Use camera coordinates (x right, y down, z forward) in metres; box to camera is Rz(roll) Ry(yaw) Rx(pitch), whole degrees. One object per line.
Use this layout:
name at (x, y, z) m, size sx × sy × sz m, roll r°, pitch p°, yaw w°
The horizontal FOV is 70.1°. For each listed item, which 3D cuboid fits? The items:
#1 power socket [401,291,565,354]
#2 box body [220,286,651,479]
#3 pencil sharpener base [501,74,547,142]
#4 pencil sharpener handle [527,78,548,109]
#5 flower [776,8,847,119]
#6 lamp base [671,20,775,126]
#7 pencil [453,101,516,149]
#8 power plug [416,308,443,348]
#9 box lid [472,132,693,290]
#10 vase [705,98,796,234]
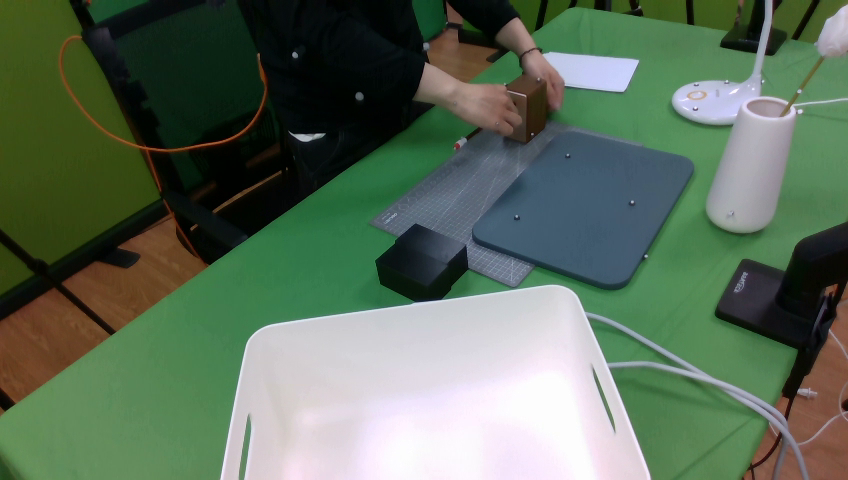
power socket at (0.080, 0.111, 0.823) m, size 0.227 × 0.033 × 0.072 m, roll -5°, pitch 41°, yaw 1°
box body at (0.006, 0.210, 0.618) m, size 0.364 × 0.161 × 0.252 m, roll -8°, pitch 40°, yaw -1°
pencil sharpener base at (0.196, -0.257, 1.175) m, size 0.061 × 0.107 × 0.077 m, roll 25°, pitch 50°, yaw 33°
pencil sharpener handle at (0.229, -0.294, 1.193) m, size 0.035 × 0.068 × 0.031 m, roll 16°, pitch 45°, yaw 40°
flower at (0.476, -0.156, 0.822) m, size 0.038 × 0.362 × 0.044 m, roll 7°, pitch 58°, yaw 2°
lamp base at (0.581, -0.332, 1.153) m, size 0.179 × 0.181 × 0.160 m, roll 2°, pitch 41°, yaw 7°
pencil at (0.118, -0.216, 1.101) m, size 0.012 × 0.012 × 0.194 m, roll 29°, pitch 54°, yaw 35°
power plug at (0.005, 0.121, 0.786) m, size 0.035 × 0.053 × 0.072 m, roll 2°, pitch 46°, yaw 8°
box lid at (0.273, -0.068, 1.020) m, size 0.261 × 0.015 × 0.372 m, roll 20°, pitch 47°, yaw 28°
vase at (0.480, -0.104, 0.889) m, size 0.098 × 0.201 × 0.097 m, roll -4°, pitch 42°, yaw 4°
